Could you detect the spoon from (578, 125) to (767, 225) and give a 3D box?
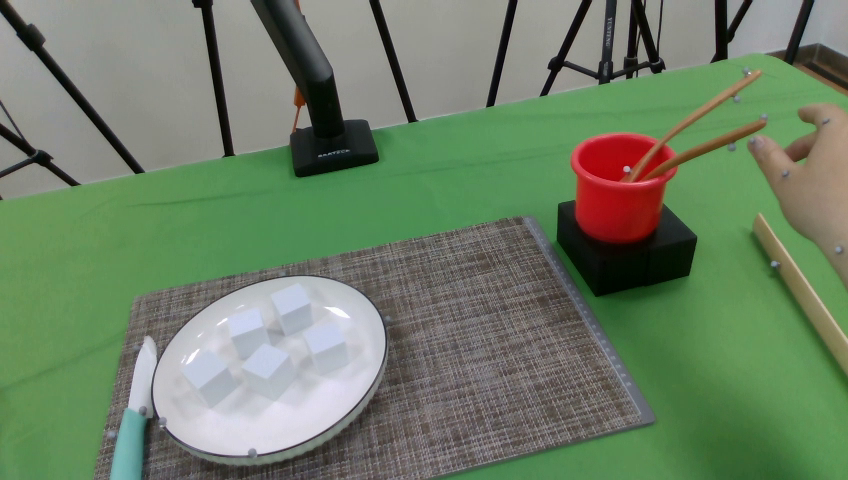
[{"bbox_3d":[0.215,-0.055,0.549,0.041,0.194,0.021,-37,89,-39],"label":"spoon"}]

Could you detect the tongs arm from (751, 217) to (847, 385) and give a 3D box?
[{"bbox_3d":[0.365,0.103,0.510,0.028,0.028,0.383,-3,38,1],"label":"tongs arm"}]

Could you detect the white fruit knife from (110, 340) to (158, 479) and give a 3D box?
[{"bbox_3d":[-0.253,0.161,0.535,0.027,0.016,0.205,11,30,-24],"label":"white fruit knife"}]

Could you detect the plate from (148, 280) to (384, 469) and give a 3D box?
[{"bbox_3d":[-0.137,0.119,0.551,0.207,0.039,0.205,-4,38,3],"label":"plate"}]

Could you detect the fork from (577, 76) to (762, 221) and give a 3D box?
[{"bbox_3d":[0.233,-0.085,0.585,0.207,0.019,0.028,-43,12,18],"label":"fork"}]
